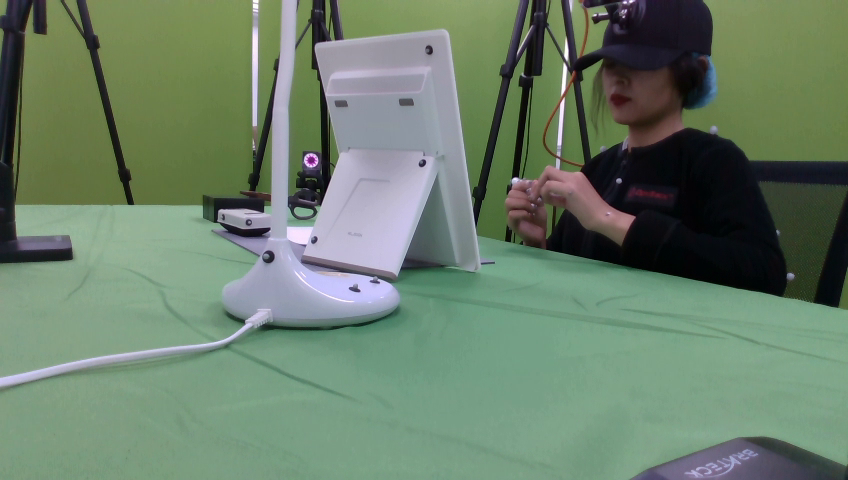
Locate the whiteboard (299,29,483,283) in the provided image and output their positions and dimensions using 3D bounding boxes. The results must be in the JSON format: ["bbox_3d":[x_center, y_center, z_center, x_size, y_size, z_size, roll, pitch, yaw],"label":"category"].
[{"bbox_3d":[-0.074,-0.082,0.742,0.216,0.305,0.144,9,29,38],"label":"whiteboard"}]

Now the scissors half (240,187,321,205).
[{"bbox_3d":[-0.311,-0.097,1.319,0.176,0.040,0.012,-1,30,-25],"label":"scissors half"}]

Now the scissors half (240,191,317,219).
[{"bbox_3d":[-0.317,-0.079,1.326,0.176,0.040,0.013,18,15,-31],"label":"scissors half"}]

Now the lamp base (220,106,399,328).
[{"bbox_3d":[-0.101,-0.023,0.531,0.160,0.180,0.179,4,10,10],"label":"lamp base"}]

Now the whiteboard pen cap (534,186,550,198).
[{"bbox_3d":[0.193,-0.080,0.996,0.018,0.018,0.033,0,16,-17],"label":"whiteboard pen cap"}]

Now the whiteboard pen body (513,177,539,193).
[{"bbox_3d":[0.183,-0.093,1.052,0.017,0.017,0.140,1,14,-12],"label":"whiteboard pen body"}]

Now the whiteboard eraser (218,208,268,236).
[{"bbox_3d":[-0.309,-0.031,1.044,0.056,0.042,0.112,-2,9,-40],"label":"whiteboard eraser"}]
